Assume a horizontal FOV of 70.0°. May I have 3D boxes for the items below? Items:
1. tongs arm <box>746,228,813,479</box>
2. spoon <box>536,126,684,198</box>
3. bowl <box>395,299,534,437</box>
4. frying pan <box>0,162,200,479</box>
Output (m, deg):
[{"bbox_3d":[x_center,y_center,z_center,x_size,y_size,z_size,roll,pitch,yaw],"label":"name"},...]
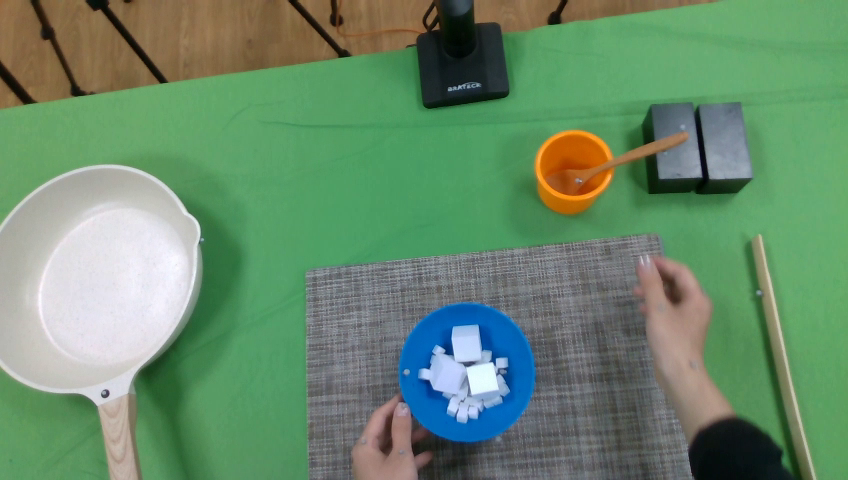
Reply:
[{"bbox_3d":[0.414,0.172,0.679,0.028,0.028,0.385,-7,74,3],"label":"tongs arm"},{"bbox_3d":[0.210,-0.092,0.709,0.022,0.193,0.041,5,73,-38],"label":"spoon"},{"bbox_3d":[0.047,0.147,0.694,0.151,0.077,0.150,-2,75,6],"label":"bowl"},{"bbox_3d":[-0.386,0.133,0.736,0.307,0.103,0.483,-22,65,1],"label":"frying pan"}]
